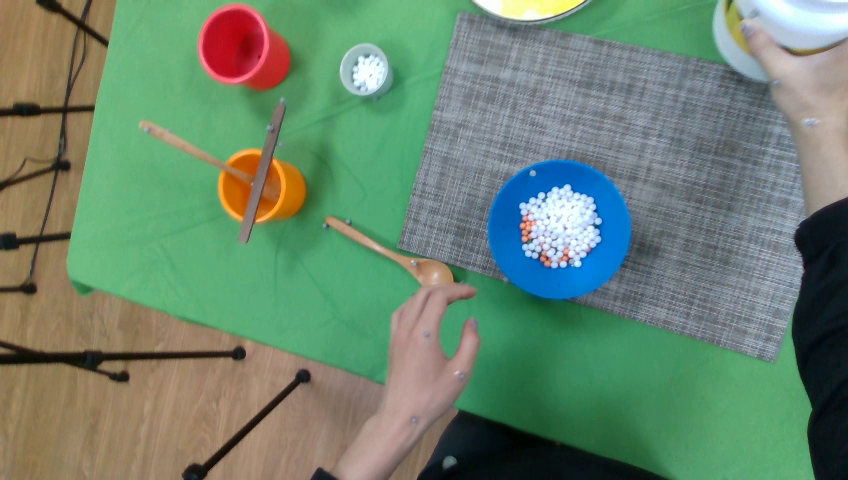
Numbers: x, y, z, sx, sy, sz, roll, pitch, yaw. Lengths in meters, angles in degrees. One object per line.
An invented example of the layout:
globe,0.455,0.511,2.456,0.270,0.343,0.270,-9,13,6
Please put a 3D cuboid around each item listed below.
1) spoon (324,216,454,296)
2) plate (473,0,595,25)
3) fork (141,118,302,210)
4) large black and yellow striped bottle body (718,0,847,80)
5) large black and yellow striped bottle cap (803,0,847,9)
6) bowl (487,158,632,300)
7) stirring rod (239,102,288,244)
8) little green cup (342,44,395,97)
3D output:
spoon,-0.047,0.014,0.760,0.193,0.021,0.042,28,112,11
plate,0.132,-0.349,0.695,0.208,0.038,0.209,0,92,14
fork,-0.242,-0.091,0.740,0.209,0.018,0.028,29,104,-32
large black and yellow striped bottle body,0.349,-0.231,0.540,0.130,0.185,0.130,-1,87,15
large black and yellow striped bottle cap,0.326,-0.235,0.459,0.114,0.019,0.115,-1,87,17
bowl,0.151,-0.011,0.677,0.151,0.077,0.151,0,92,14
stirring rod,-0.193,-0.080,0.726,0.014,0.006,0.176,19,97,11
little green cup,-0.066,-0.207,0.749,0.061,0.039,0.061,0,92,15
